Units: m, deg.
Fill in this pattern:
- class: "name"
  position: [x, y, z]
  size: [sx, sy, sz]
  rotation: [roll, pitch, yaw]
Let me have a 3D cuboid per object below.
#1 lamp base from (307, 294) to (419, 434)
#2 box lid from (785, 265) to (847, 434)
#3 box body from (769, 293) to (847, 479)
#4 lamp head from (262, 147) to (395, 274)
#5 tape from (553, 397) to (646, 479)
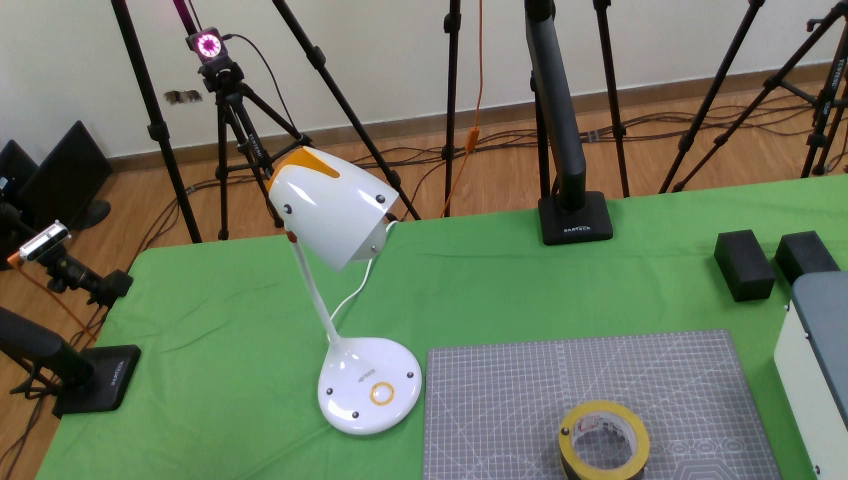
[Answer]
- class: "lamp base"
  position: [-0.110, 0.163, 0.871]
  size: [0.177, 0.182, 0.160]
  rotation: [26, 58, 35]
- class: "box lid"
  position: [0.566, 0.161, 0.623]
  size: [0.263, 0.015, 0.368]
  rotation: [-5, 47, 9]
- class: "box body"
  position: [0.578, 0.213, 0.674]
  size: [0.254, 0.162, 0.360]
  rotation: [-5, 46, 9]
- class: "lamp head"
  position: [-0.111, -0.038, 0.649]
  size: [0.123, 0.113, 0.112]
  rotation: [34, 56, -3]
- class: "tape"
  position: [0.227, 0.264, 0.783]
  size: [0.117, 0.053, 0.115]
  rotation: [-6, 46, 7]
